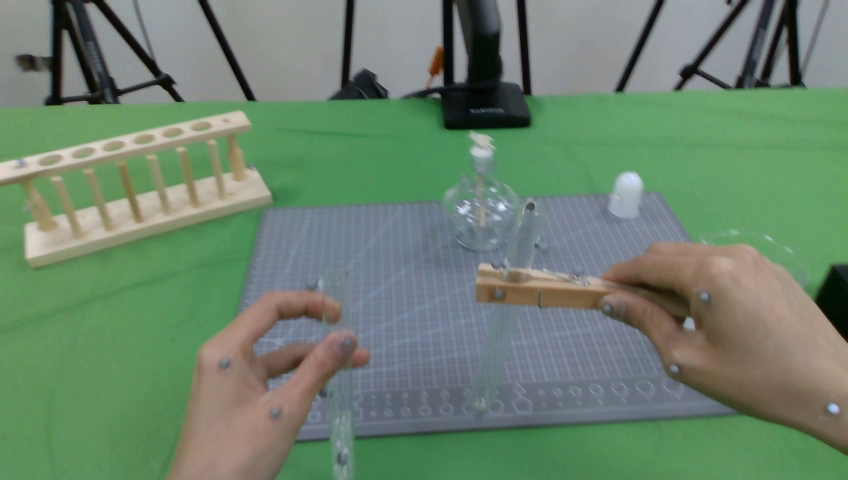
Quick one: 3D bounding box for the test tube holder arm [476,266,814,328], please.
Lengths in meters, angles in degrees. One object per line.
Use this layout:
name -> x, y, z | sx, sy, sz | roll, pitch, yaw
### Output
test tube holder arm -> 0.117, 0.031, 0.336 | 0.178, 0.015, 0.013 | 5, 39, 10

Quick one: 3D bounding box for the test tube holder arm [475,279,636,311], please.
test tube holder arm -> 0.072, 0.031, 0.338 | 0.088, 0.015, 0.010 | 1, 38, 5

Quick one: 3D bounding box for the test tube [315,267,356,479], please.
test tube -> -0.050, 0.084, 0.354 | 0.017, 0.151, 0.017 | 1, 27, 0

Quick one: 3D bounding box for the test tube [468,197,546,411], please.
test tube -> 0.046, 0.044, 0.355 | 0.017, 0.151, 0.017 | 7, 30, -4

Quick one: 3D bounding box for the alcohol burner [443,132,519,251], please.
alcohol burner -> 0.056, -0.050, 0.598 | 0.078, 0.120, 0.077 | -1, 37, 1

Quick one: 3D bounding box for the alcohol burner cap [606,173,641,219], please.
alcohol burner cap -> 0.218, -0.050, 0.656 | 0.034, 0.048, 0.033 | 0, 38, 0

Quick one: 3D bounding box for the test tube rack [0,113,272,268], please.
test tube rack -> -0.294, -0.057, 0.635 | 0.243, 0.086, 0.066 | -18, 42, -21

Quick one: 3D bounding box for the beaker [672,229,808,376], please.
beaker -> 0.241, 0.051, 0.482 | 0.074, 0.101, 0.083 | -22, 42, -25
